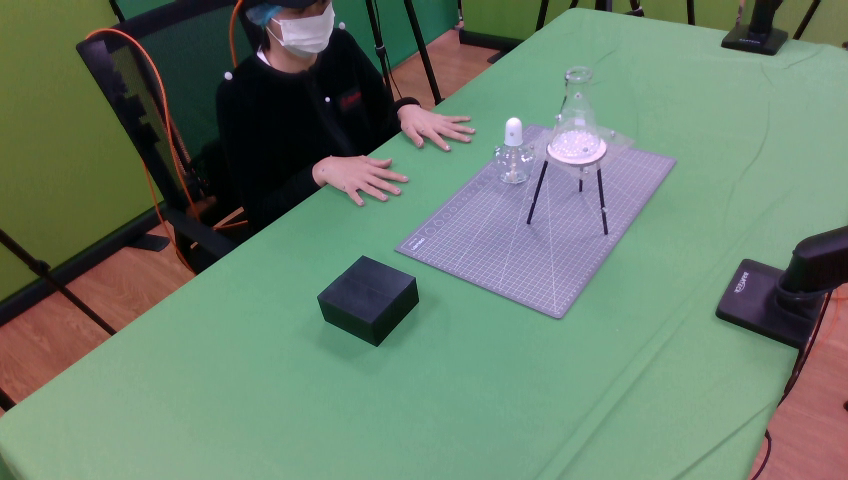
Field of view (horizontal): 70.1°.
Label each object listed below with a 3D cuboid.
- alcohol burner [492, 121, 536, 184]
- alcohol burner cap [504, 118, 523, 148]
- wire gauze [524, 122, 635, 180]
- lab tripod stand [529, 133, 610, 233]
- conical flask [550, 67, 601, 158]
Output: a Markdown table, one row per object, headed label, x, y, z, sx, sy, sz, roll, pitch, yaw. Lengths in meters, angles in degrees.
| label | x | y | z | sx | sy | sz | roll | pitch | yaw |
| --- | --- | --- | --- | --- | --- | --- | --- | --- | --- |
| alcohol burner | 0.159 | -0.158 | 1.064 | 0.078 | 0.119 | 0.077 | -3 | 41 | 3 |
| alcohol burner cap | 0.154 | -0.186 | 1.042 | 0.034 | 0.048 | 0.033 | -4 | 33 | 3 |
| wire gauze | 0.233 | -0.142 | 0.913 | 0.122 | 0.011 | 0.124 | -31 | 43 | -26 |
| lab tripod stand | 0.236 | -0.089 | 0.953 | 0.148 | 0.132 | 0.147 | -5 | 42 | 5 |
| conical flask | 0.221 | -0.186 | 0.875 | 0.075 | 0.122 | 0.075 | -5 | 40 | 5 |
